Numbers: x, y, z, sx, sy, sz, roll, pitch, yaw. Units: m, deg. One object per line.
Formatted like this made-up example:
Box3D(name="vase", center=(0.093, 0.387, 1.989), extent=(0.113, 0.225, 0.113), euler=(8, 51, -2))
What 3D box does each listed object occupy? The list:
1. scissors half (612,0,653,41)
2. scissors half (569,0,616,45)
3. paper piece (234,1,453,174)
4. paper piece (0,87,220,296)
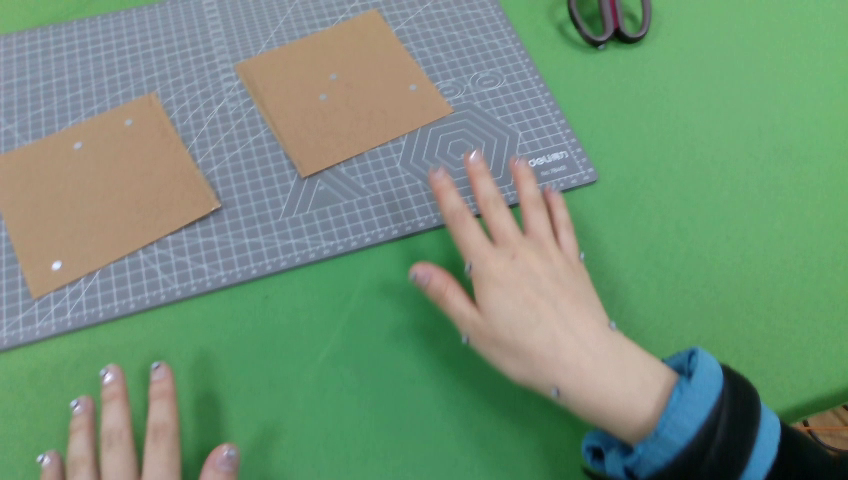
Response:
Box3D(name="scissors half", center=(0.163, -0.258, 0.529), extent=(0.040, 0.013, 0.175), euler=(-17, 86, -8))
Box3D(name="scissors half", center=(0.143, -0.254, 0.526), extent=(0.040, 0.013, 0.174), euler=(1, 82, -12))
Box3D(name="paper piece", center=(-0.066, -0.129, 0.490), extent=(0.136, 0.004, 0.134), euler=(-26, 66, -14))
Box3D(name="paper piece", center=(-0.237, -0.044, 0.442), extent=(0.138, 0.009, 0.134), euler=(-29, 61, -13))
